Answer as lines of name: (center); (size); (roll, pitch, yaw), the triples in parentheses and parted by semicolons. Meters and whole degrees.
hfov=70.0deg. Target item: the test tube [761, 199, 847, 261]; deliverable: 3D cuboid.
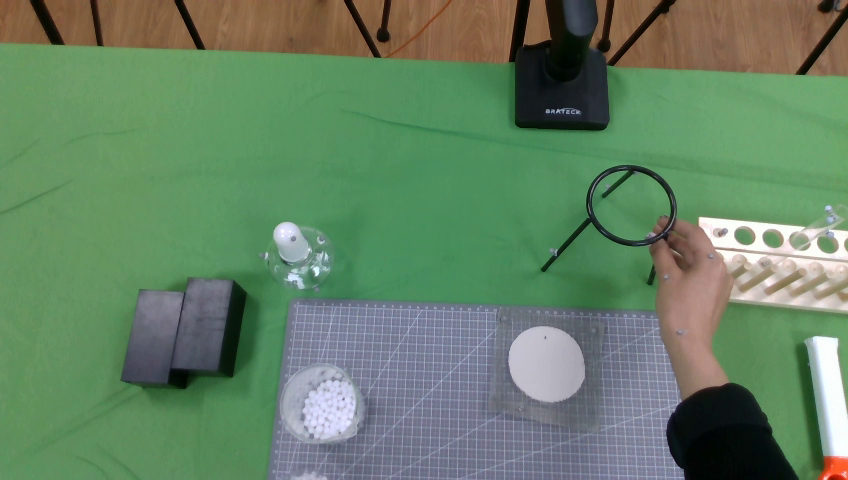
test tube: (0.395, -0.006, 0.639); (0.017, 0.151, 0.017); (-1, 70, 3)

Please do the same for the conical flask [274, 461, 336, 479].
conical flask: (-0.125, 0.251, 0.578); (0.075, 0.122, 0.075); (0, 70, 0)

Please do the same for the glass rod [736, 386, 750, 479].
glass rod: (0.340, 0.256, 0.639); (0.008, 0.008, 0.198); (4, 73, 1)

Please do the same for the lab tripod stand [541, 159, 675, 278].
lab tripod stand: (0.207, -0.017, 0.671); (0.148, 0.132, 0.147); (0, 72, 1)

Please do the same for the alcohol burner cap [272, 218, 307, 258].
alcohol burner cap: (-0.144, -0.005, 0.640); (0.034, 0.048, 0.033); (0, 64, 0)

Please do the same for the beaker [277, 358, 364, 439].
beaker: (-0.098, 0.168, 0.620); (0.083, 0.101, 0.074); (37, 75, 12)

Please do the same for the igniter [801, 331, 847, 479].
igniter: (0.434, 0.233, 0.636); (0.057, 0.025, 0.274); (7, 70, -8)

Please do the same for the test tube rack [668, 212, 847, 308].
test tube rack: (0.412, 0.026, 0.680); (0.242, 0.086, 0.066); (6, 70, 2)

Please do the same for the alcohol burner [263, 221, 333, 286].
alcohol burner: (-0.143, 0.009, 0.673); (0.078, 0.120, 0.077); (-1, 71, 2)

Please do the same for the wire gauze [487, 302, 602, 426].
wire gauze: (0.137, 0.136, 0.680); (0.125, 0.011, 0.121); (10, 70, 1)
